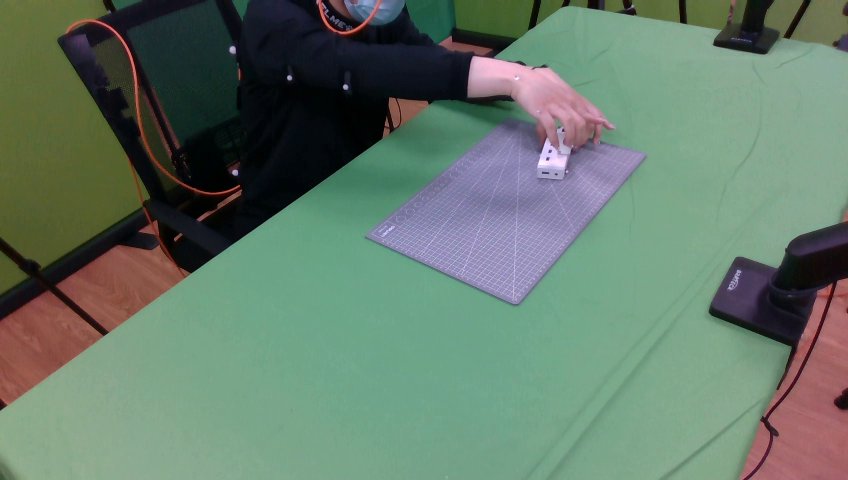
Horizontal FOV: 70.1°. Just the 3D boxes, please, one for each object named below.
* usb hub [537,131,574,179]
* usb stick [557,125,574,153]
[{"bbox_3d":[0.243,-0.158,1.111,0.049,0.025,0.125,8,44,18],"label":"usb hub"},{"bbox_3d":[0.252,-0.175,1.083,0.027,0.059,0.021,12,45,17],"label":"usb stick"}]
